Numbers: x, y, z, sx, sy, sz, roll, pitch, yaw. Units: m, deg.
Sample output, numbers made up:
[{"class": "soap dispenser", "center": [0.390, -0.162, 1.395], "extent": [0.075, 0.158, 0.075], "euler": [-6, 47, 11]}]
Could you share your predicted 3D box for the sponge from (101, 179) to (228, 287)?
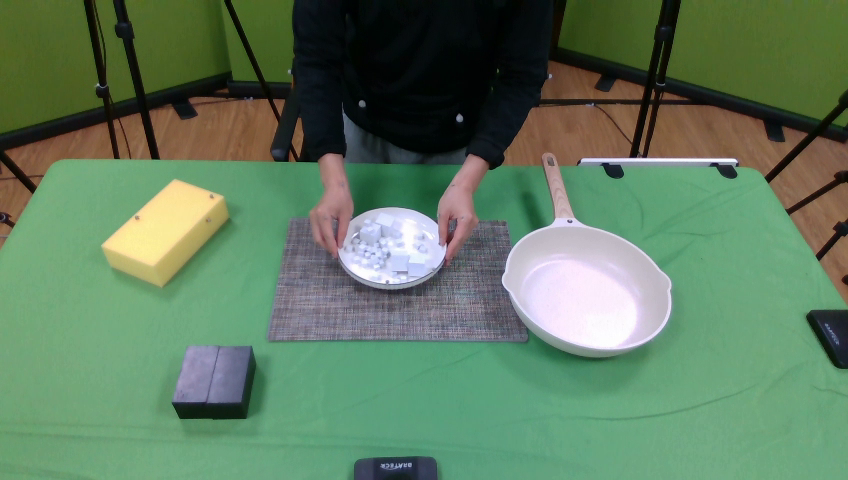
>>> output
[{"class": "sponge", "center": [-0.486, -0.018, 1.151], "extent": [0.118, 0.061, 0.206], "euler": [19, 47, 12]}]

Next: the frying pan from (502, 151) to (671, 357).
[{"class": "frying pan", "center": [0.281, 0.008, 1.154], "extent": [0.307, 0.103, 0.484], "euler": [1, 54, -6]}]

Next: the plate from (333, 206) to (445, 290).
[{"class": "plate", "center": [-0.065, 0.018, 1.142], "extent": [0.208, 0.039, 0.206], "euler": [2, 45, -2]}]
